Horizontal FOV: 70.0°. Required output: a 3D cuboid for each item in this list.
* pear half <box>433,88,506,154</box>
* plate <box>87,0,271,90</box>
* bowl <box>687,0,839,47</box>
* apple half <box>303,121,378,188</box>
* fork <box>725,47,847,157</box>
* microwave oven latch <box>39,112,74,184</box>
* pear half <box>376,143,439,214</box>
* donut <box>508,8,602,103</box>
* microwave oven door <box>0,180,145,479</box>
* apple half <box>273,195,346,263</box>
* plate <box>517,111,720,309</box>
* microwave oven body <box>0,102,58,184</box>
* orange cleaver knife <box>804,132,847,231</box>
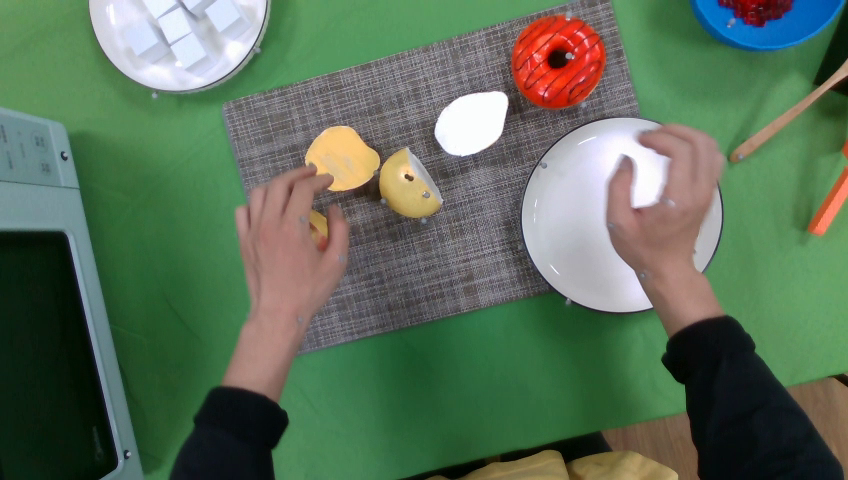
[{"bbox_3d":[0.053,-0.129,0.661,0.088,0.031,0.070,-38,78,-3],"label":"pear half"},{"bbox_3d":[-0.270,-0.271,0.682,0.207,0.039,0.207,0,92,5],"label":"plate"},{"bbox_3d":[0.331,-0.263,0.613,0.151,0.077,0.151,0,93,5],"label":"bowl"},{"bbox_3d":[-0.095,-0.088,0.670,0.081,0.033,0.081,3,72,-9],"label":"apple half"},{"bbox_3d":[0.393,-0.156,0.608,0.028,0.018,0.207,43,115,-6],"label":"fork"},{"bbox_3d":[-0.422,-0.102,0.683,0.030,0.029,0.079,-11,92,5],"label":"microwave oven latch"},{"bbox_3d":[-0.023,-0.060,0.631,0.056,0.110,0.076,-37,85,5],"label":"pear half"},{"bbox_3d":[0.138,-0.196,0.645,0.099,0.048,0.099,0,94,8],"label":"donut"},{"bbox_3d":[-0.388,0.116,0.588,0.039,0.244,0.355,-12,91,5],"label":"microwave oven door"},{"bbox_3d":[-0.130,-0.005,0.661,0.081,0.074,0.053,39,98,-2],"label":"apple half"},{"bbox_3d":[0.204,-0.031,0.649,0.209,0.038,0.209,0,92,4],"label":"plate"},{"bbox_3d":[-0.539,0.104,0.605,0.326,0.260,0.441,-12,92,5],"label":"microwave oven body"},{"bbox_3d":[0.442,-0.108,0.608,0.012,0.077,0.212,22,119,9],"label":"orange cleaver knife"}]
